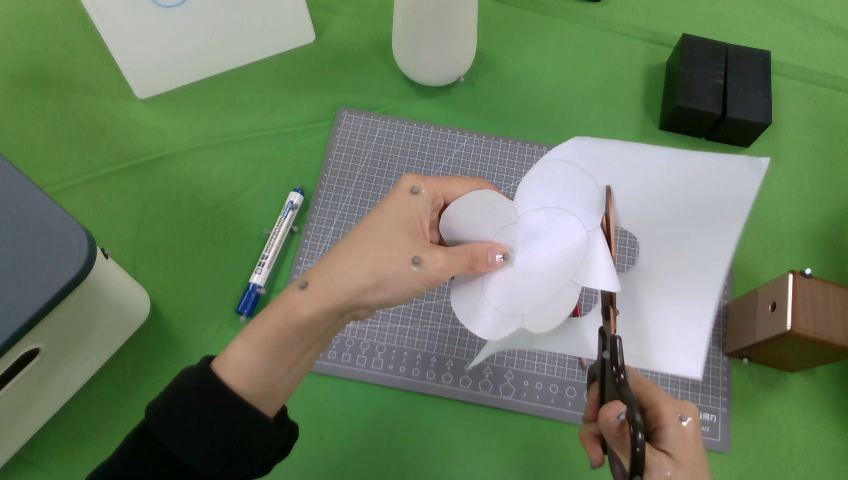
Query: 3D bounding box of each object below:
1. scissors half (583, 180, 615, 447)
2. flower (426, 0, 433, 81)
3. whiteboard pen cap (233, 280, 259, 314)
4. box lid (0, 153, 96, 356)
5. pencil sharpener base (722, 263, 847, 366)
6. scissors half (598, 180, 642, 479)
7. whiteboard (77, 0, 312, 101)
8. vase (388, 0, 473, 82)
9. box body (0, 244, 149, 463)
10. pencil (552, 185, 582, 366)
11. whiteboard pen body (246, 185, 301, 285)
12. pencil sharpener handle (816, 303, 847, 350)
[{"bbox_3d":[0.108,0.049,0.369,0.013,0.039,0.176,-3,112,0],"label":"scissors half"},{"bbox_3d":[0.005,-0.302,0.562,0.044,0.365,0.038,4,51,3],"label":"flower"},{"bbox_3d":[-0.175,0.056,0.600,0.018,0.018,0.033,16,65,5],"label":"whiteboard pen cap"},{"bbox_3d":[-0.465,-0.007,0.459,0.370,0.015,0.262,36,71,11],"label":"box lid"},{"bbox_3d":[0.342,0.073,0.565,0.077,0.107,0.061,15,68,1],"label":"pencil sharpener base"},{"bbox_3d":[0.109,0.053,0.347,0.013,0.040,0.175,-4,87,-5],"label":"scissors half"},{"bbox_3d":[-0.275,-0.343,0.633,0.217,0.308,0.142,-22,51,-10],"label":"whiteboard"},{"bbox_3d":[0.008,-0.258,0.634,0.098,0.201,0.097,0,67,0],"label":"vase"},{"bbox_3d":[-0.465,0.022,0.528,0.362,0.161,0.253,36,72,11],"label":"box body"},{"bbox_3d":[0.149,0.033,0.626,0.012,0.012,0.192,-3,71,-3],"label":"pencil"},{"bbox_3d":[-0.158,0.004,0.623,0.017,0.017,0.140,17,67,5],"label":"whiteboard pen body"},{"bbox_3d":[0.392,0.083,0.553,0.030,0.068,0.035,15,62,1],"label":"pencil sharpener handle"}]
